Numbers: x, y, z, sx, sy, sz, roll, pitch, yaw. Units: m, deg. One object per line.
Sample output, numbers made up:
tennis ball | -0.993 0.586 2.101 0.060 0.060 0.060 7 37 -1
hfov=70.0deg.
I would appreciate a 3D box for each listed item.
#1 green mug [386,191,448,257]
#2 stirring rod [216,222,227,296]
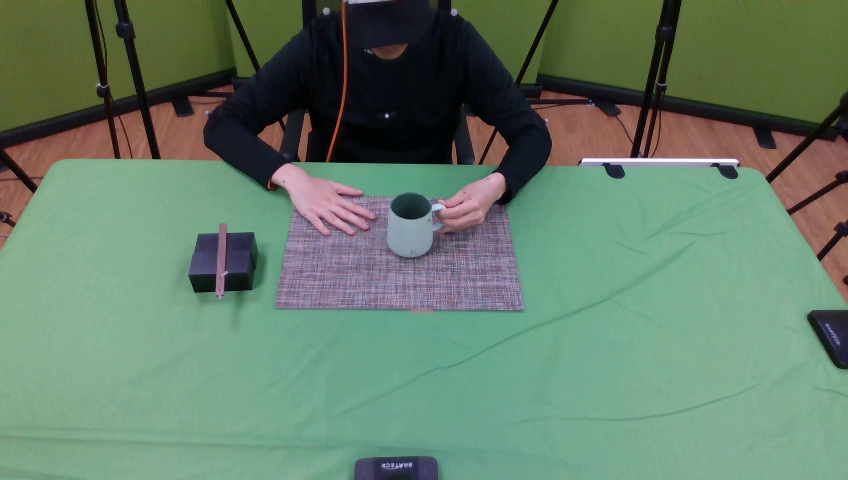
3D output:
green mug | -0.012 -0.034 1.165 0.125 0.105 0.092 -17 49 -19
stirring rod | -0.362 0.030 1.082 0.014 0.006 0.175 -6 48 -10
